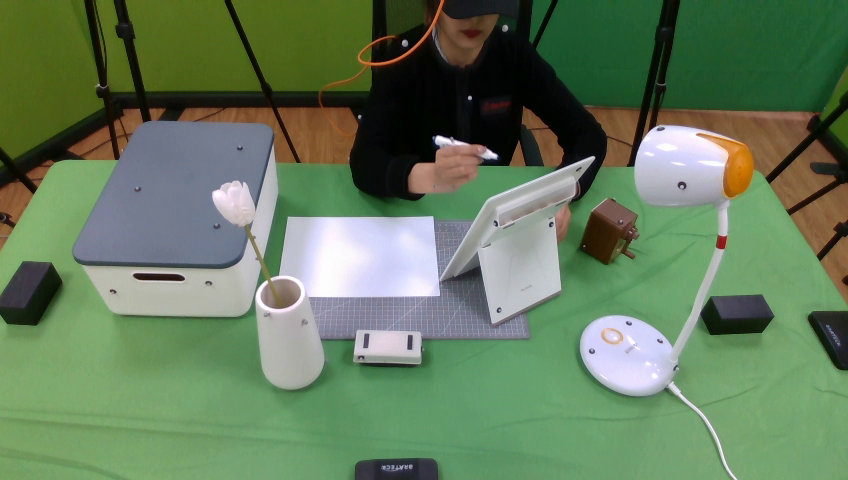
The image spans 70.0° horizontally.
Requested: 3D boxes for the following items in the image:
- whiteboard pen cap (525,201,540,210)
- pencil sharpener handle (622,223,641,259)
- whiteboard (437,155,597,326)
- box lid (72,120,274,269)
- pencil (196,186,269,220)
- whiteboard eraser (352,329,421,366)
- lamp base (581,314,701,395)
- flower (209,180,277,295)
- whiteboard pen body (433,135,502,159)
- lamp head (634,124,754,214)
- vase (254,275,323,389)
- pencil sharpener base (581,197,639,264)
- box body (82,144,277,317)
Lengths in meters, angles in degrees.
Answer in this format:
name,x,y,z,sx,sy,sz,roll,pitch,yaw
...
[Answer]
name,x,y,z,sx,sy,sz,roll,pitch,yaw
whiteboard pen cap,0.230,-0.074,1.289,0.033,0.018,0.018,5,46,4
pencil sharpener handle,0.397,0.003,1.146,0.030,0.068,0.036,37,45,27
whiteboard,0.180,0.023,1.029,0.217,0.306,0.143,-22,71,-23
box lid,-0.417,-0.094,1.056,0.263,0.015,0.369,1,47,-3
pencil,-0.396,-0.078,1.243,0.193,0.012,0.012,23,49,19
whiteboard eraser,-0.061,0.179,1.005,0.113,0.042,0.055,3,48,-3
lamp base,0.361,0.144,0.973,0.178,0.181,0.160,34,53,23
flower,-0.217,0.075,0.871,0.044,0.363,0.038,-29,36,-19
whiteboard pen body,0.073,-0.158,1.035,0.140,0.017,0.017,23,48,32
lamp head,0.351,-0.089,0.775,0.112,0.113,0.122,-30,30,-28
vase,-0.209,0.143,0.921,0.098,0.201,0.097,1,46,-1
pencil sharpener base,0.362,-0.017,1.179,0.076,0.107,0.061,37,54,27
box body,-0.422,-0.041,1.108,0.254,0.161,0.361,2,46,-3
